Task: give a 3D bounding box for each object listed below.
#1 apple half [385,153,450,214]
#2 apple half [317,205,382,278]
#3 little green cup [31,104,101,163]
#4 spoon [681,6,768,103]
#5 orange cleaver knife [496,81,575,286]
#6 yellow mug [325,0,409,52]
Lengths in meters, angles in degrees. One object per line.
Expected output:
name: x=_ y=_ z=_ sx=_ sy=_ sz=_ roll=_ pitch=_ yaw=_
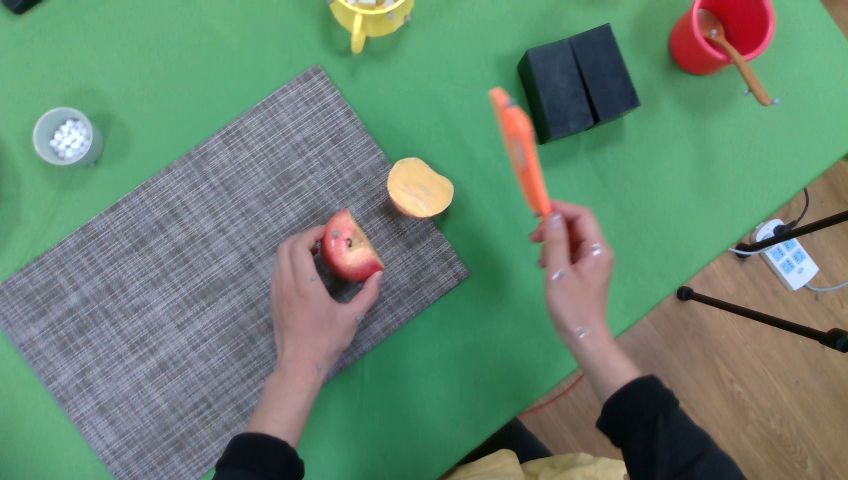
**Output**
apple half: x=-0.013 y=-0.056 z=0.685 sx=0.082 sy=0.033 sz=0.080 roll=11 pitch=57 yaw=-17
apple half: x=-0.087 y=0.008 z=0.660 sx=0.053 sy=0.074 sz=0.081 roll=-33 pitch=94 yaw=-1
little green cup: x=-0.387 y=-0.113 z=0.660 sx=0.061 sy=0.038 sz=0.061 roll=0 pitch=88 yaw=-4
spoon: x=0.332 y=-0.210 z=0.670 sx=0.041 sy=0.022 sz=0.191 roll=-1 pitch=44 yaw=-3
orange cleaver knife: x=0.107 y=-0.049 z=0.581 sx=0.012 sy=0.076 sz=0.213 roll=-24 pitch=121 yaw=0
yellow mug: x=-0.068 y=-0.275 z=0.677 sx=0.100 sy=0.064 sz=0.130 roll=12 pitch=88 yaw=-4
